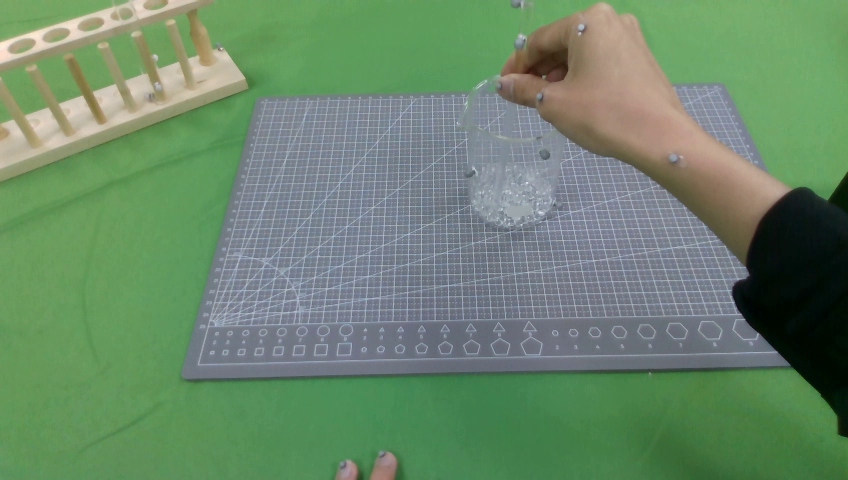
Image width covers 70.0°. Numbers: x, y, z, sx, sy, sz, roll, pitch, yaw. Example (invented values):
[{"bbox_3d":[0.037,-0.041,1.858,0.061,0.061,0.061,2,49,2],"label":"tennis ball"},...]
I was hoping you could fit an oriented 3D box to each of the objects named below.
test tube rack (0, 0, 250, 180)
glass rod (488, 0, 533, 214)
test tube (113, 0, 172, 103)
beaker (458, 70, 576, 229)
[{"bbox_3d":[-0.294,-0.148,0.552,0.242,0.086,0.066,-26,55,-18],"label":"test tube rack"},{"bbox_3d":[0.056,-0.089,0.403,0.008,0.201,0.008,2,48,-1],"label":"glass rod"},{"bbox_3d":[-0.248,-0.183,0.520,0.017,0.151,0.017,0,49,1],"label":"test tube"},{"bbox_3d":[0.066,-0.063,0.457,0.084,0.101,0.073,-15,52,-9],"label":"beaker"}]
